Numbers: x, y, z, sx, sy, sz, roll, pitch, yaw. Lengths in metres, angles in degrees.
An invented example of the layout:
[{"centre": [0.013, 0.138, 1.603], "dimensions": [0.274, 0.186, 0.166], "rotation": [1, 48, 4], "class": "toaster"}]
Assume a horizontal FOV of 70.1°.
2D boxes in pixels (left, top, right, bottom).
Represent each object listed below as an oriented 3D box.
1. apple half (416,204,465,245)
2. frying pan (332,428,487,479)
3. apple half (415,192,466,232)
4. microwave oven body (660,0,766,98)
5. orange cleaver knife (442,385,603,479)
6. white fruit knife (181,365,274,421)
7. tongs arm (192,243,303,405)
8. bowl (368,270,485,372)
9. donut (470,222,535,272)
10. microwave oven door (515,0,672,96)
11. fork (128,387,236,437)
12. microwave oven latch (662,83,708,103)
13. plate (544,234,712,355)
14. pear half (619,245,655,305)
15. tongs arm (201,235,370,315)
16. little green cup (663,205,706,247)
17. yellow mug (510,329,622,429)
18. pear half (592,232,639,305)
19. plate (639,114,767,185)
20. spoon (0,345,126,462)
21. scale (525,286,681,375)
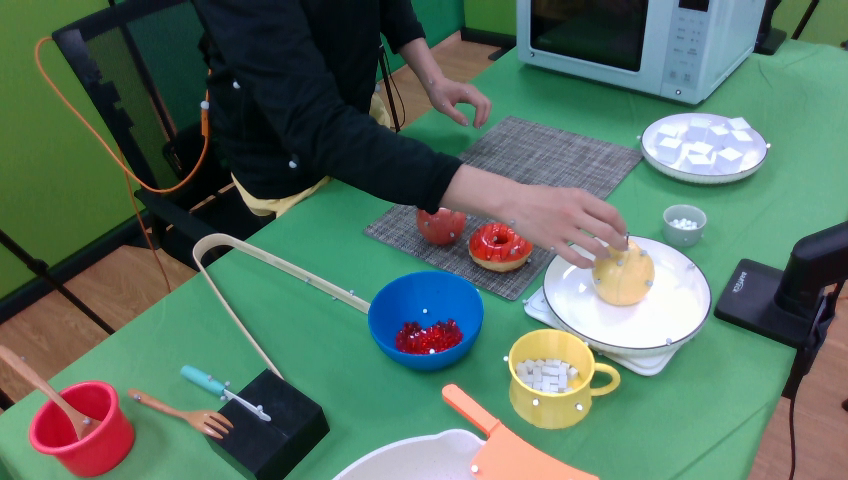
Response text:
[{"centre": [0.027, -0.017, 0.943], "dimensions": [0.081, 0.081, 0.032], "rotation": [-4, 37, 4], "class": "apple half"}, {"centre": [-0.089, 0.306, 0.564], "dimensions": [0.487, 0.103, 0.306], "rotation": [9, 41, 7], "class": "frying pan"}, {"centre": [0.028, -0.042, 0.974], "dimensions": [0.081, 0.075, 0.053], "rotation": [-4, 37, 7], "class": "apple half"}, {"centre": [0.472, -0.513, 1.317], "dimensions": [0.438, 0.261, 0.327], "rotation": [26, 51, 34], "class": "microwave oven body"}, {"centre": [0.086, 0.219, 0.612], "dimensions": [0.209, 0.012, 0.077], "rotation": [28, 49, 35], "class": "orange cleaver knife"}, {"centre": [-0.245, 0.188, 0.747], "dimensions": [0.205, 0.027, 0.016], "rotation": [9, 41, 41], "class": "white fruit knife"}, {"centre": [-0.268, 0.110, 0.884], "dimensions": [0.028, 0.028, 0.384], "rotation": [-36, 47, -17], "class": "tongs arm"}, {"centre": [0.007, 0.118, 0.791], "dimensions": [0.151, 0.077, 0.150], "rotation": [-5, 39, 4], "class": "bowl"}, {"centre": [0.119, 0.009, 0.923], "dimensions": [0.099, 0.048, 0.098], "rotation": [-3, 38, 3], "class": "donut"}, {"centre": [0.343, -0.454, 1.259], "dimensions": [0.353, 0.245, 0.039], "rotation": [26, 51, 33], "class": "microwave oven door"}, {"centre": [-0.305, 0.207, 0.744], "dimensions": [0.206, 0.019, 0.028], "rotation": [3, 40, 36], "class": "fork"}, {"centre": [0.518, -0.296, 1.204], "dimensions": [0.078, 0.029, 0.030], "rotation": [28, 52, 35], "class": "microwave oven latch"}, {"centre": [0.262, 0.072, 0.792], "dimensions": [0.209, 0.038, 0.208], "rotation": [-4, 41, 4], "class": "plate"}, {"centre": [0.275, 0.047, 0.766], "dimensions": [0.031, 0.088, 0.070], "rotation": [20, 46, 30], "class": "pear half"}, {"centre": [-0.209, 0.062, 0.924], "dimensions": [0.381, 0.027, 0.051], "rotation": [23, 54, 32], "class": "tongs arm"}, {"centre": [0.396, -0.020, 0.926], "dimensions": [0.061, 0.039, 0.061], "rotation": [-4, 40, 4], "class": "little green cup"}, {"centre": [0.168, 0.164, 0.721], "dimensions": [0.130, 0.064, 0.099], "rotation": [0, 40, 8], "class": "yellow mug"}, {"centre": [0.246, 0.027, 0.778], "dimensions": [0.055, 0.110, 0.076], "rotation": [22, 45, 30], "class": "pear half"}, {"centre": [0.489, -0.157, 1.074], "dimensions": [0.207, 0.039, 0.206], "rotation": [-4, 40, 4], "class": "plate"}, {"centre": [-0.434, 0.192, 0.720], "dimensions": [0.194, 0.021, 0.042], "rotation": [47, 53, -7], "class": "spoon"}, {"centre": [0.254, 0.091, 0.821], "dimensions": [0.199, 0.032, 0.149], "rotation": [27, 51, 35], "class": "scale"}]
